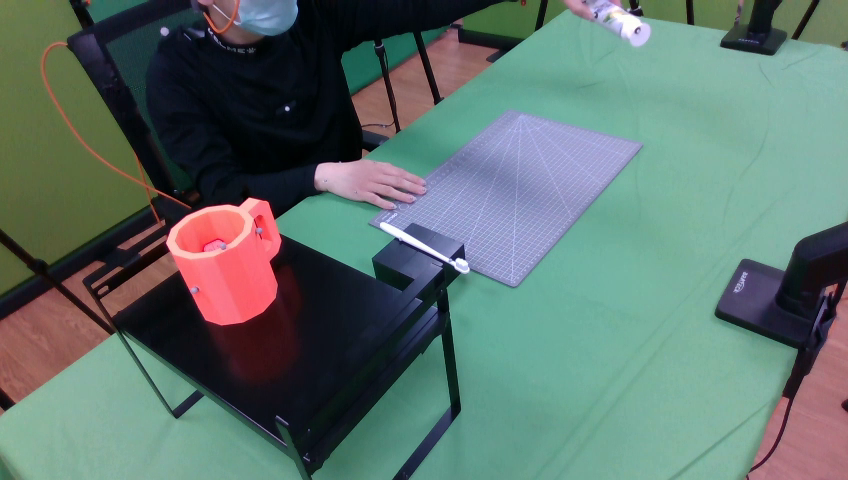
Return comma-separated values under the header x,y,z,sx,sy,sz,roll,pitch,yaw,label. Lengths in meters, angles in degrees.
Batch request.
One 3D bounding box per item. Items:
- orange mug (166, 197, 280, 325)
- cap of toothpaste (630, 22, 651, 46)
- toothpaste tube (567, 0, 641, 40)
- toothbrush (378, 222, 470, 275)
x,y,z,sx,sy,sz,roll,pitch,yaw,label
-0.203,0.014,0.650,0.083,0.101,0.126,12,48,22,orange mug
0.322,-0.309,0.903,0.037,0.037,0.011,-19,43,-14,cap of toothpaste
0.294,-0.356,0.959,0.055,0.035,0.163,-26,45,-7,toothpaste tube
-0.004,0.008,0.894,0.180,0.017,0.014,27,55,34,toothbrush
